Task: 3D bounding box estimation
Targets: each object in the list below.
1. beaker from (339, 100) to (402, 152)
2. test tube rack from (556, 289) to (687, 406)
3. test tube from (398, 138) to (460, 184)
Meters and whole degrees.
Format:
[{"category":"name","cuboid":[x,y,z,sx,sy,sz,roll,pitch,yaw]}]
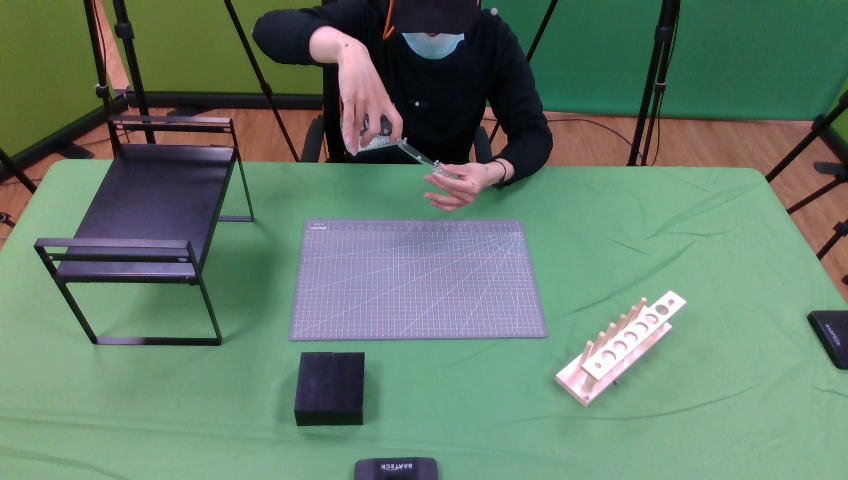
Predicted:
[{"category":"beaker","cuboid":[-0.093,-0.197,1.071,0.100,0.084,0.073,-11,43,1]},{"category":"test tube rack","cuboid":[0.332,0.166,1.014,0.242,0.085,0.066,-31,55,-28]},{"category":"test tube","cuboid":[0.011,-0.146,1.134,0.151,0.017,0.017,31,37,-31]}]
